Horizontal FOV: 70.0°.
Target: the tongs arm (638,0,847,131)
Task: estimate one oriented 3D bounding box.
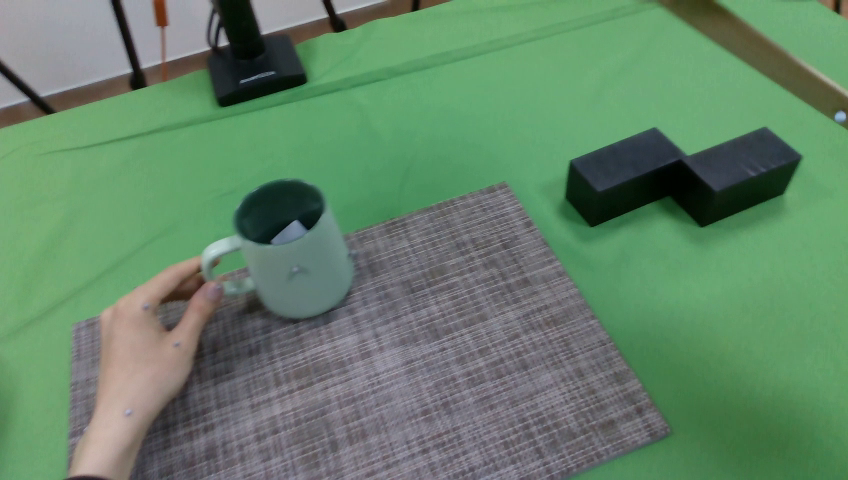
[{"bbox_3d":[0.155,-0.139,0.350,0.390,0.027,0.028,24,78,-17],"label":"tongs arm"}]

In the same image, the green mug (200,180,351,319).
[{"bbox_3d":[-0.133,0.016,0.538,0.125,0.106,0.091,-20,51,-10],"label":"green mug"}]
